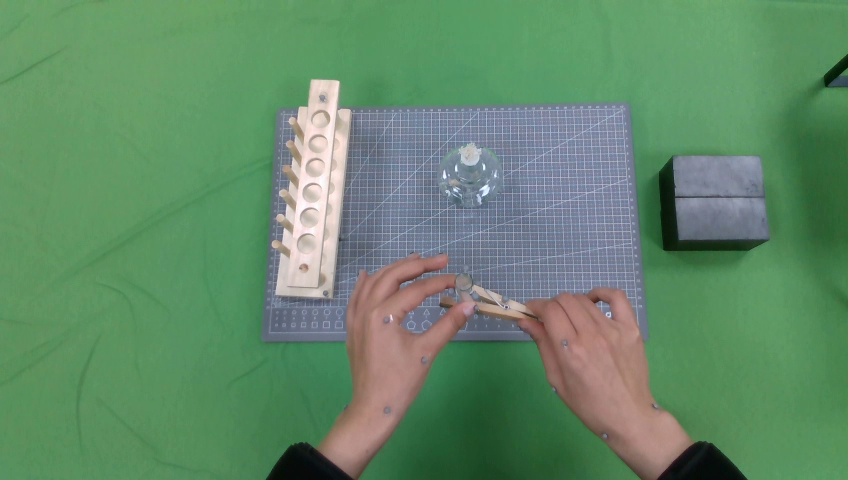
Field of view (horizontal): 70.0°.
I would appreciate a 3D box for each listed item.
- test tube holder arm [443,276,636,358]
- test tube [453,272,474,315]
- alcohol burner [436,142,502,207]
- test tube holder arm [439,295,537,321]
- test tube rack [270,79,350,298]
[{"bbox_3d":[0.101,0.068,0.539,0.178,0.015,0.013,19,77,6],"label":"test tube holder arm"},{"bbox_3d":[0.037,0.051,0.542,0.017,0.151,0.017,-1,75,5],"label":"test tube"},{"bbox_3d":[0.052,-0.081,0.694,0.078,0.119,0.077,-1,78,3],"label":"alcohol burner"},{"bbox_3d":[0.057,0.061,0.542,0.088,0.015,0.010,8,75,3],"label":"test tube holder arm"},{"bbox_3d":[-0.137,-0.059,0.710,0.067,0.085,0.241,3,77,3],"label":"test tube rack"}]
